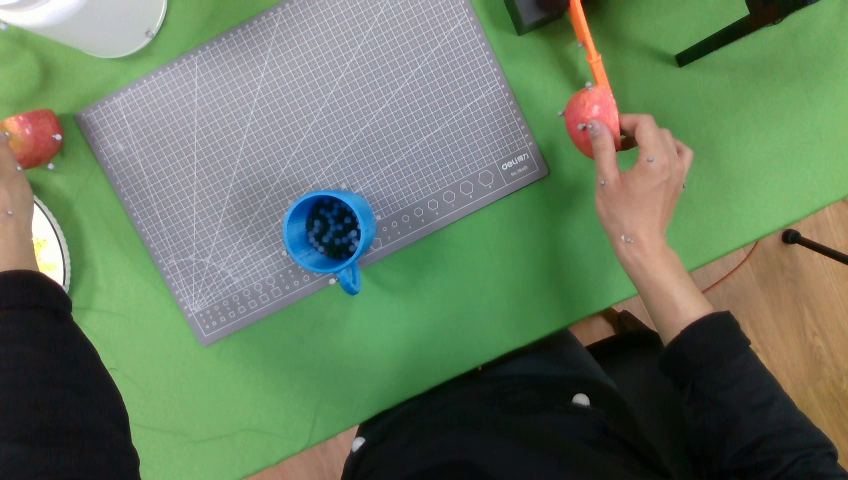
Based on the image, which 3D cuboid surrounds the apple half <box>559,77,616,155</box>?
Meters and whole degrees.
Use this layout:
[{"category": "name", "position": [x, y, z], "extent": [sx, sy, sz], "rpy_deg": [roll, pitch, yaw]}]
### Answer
[{"category": "apple half", "position": [0.155, -0.119, 0.599], "extent": [0.033, 0.081, 0.081], "rpy_deg": [-17, 96, -14]}]

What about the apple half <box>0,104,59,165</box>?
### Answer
[{"category": "apple half", "position": [-0.433, -0.109, 0.651], "extent": [0.081, 0.074, 0.053], "rpy_deg": [-22, 107, -1]}]

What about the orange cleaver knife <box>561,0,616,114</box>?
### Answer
[{"category": "orange cleaver knife", "position": [0.158, -0.227, 0.630], "extent": [0.012, 0.076, 0.213], "rpy_deg": [-24, 122, 11]}]

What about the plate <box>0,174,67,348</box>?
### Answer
[{"category": "plate", "position": [-0.504, 0.020, 0.684], "extent": [0.209, 0.038, 0.209], "rpy_deg": [0, 97, 0]}]

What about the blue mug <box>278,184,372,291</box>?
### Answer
[{"category": "blue mug", "position": [-0.096, -0.002, 0.644], "extent": [0.082, 0.105, 0.117], "rpy_deg": [-18, 96, 2]}]

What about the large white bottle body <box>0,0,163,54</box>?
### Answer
[{"category": "large white bottle body", "position": [-0.350, -0.262, 0.576], "extent": [0.130, 0.184, 0.131], "rpy_deg": [0, 96, 1]}]

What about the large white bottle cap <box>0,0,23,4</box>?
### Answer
[{"category": "large white bottle cap", "position": [-0.353, -0.253, 0.492], "extent": [0.115, 0.018, 0.115], "rpy_deg": [0, 97, 1]}]
